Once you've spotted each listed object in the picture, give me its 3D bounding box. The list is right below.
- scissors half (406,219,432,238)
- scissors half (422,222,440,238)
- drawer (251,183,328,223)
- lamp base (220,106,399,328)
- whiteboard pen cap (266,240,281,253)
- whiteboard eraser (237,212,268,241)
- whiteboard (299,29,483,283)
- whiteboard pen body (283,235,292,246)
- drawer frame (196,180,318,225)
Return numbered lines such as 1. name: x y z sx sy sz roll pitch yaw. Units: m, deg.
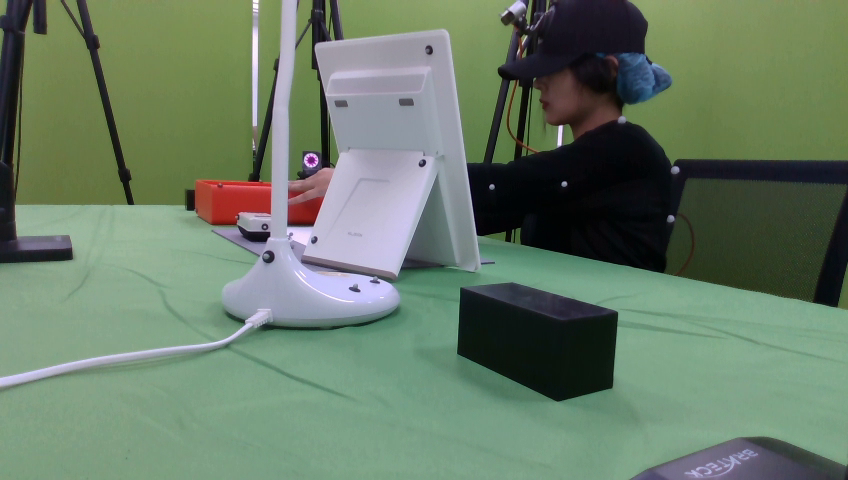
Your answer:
1. scissors half: -0.007 -0.022 1.215 0.040 0.013 0.174 8 9 -16
2. scissors half: 0.013 -0.017 1.217 0.040 0.013 0.175 16 9 0
3. drawer: -0.303 -0.081 1.324 0.213 0.073 0.193 -5 12 -31
4. lamp base: -0.102 -0.023 0.531 0.160 0.180 0.179 4 10 10
5. whiteboard pen cap: -0.202 0.009 0.813 0.018 0.018 0.033 1 3 -8
6. whiteboard eraser: -0.272 -0.023 0.998 0.056 0.042 0.112 -3 9 -26
7. whiteboard: -0.074 -0.082 0.742 0.216 0.305 0.144 9 29 38
8. whiteboard pen body: -0.206 0.005 0.872 0.017 0.017 0.140 2 4 -6
9. drawer frame: -0.359 -0.083 1.291 0.215 0.082 0.200 -2 10 -30
